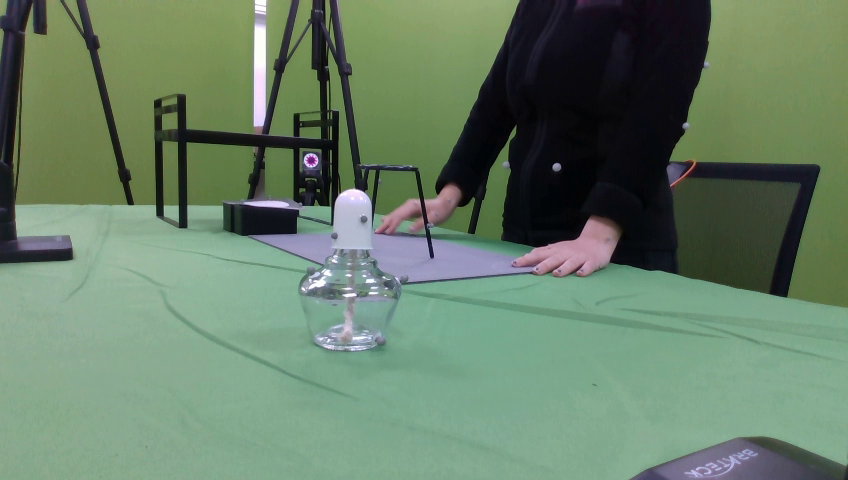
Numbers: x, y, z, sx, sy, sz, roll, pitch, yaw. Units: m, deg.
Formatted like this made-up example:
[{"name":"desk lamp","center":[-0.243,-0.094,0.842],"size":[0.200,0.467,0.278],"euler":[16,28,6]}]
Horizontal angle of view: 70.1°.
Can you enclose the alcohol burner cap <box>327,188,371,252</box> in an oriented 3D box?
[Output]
[{"name":"alcohol burner cap","center":[-0.055,-0.015,0.448],"size":[0.034,0.048,0.034],"euler":[0,1,0]}]

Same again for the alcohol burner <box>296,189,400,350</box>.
[{"name":"alcohol burner","center":[-0.056,0.021,0.453],"size":[0.078,0.119,0.078],"euler":[3,6,0]}]

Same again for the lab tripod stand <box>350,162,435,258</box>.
[{"name":"lab tripod stand","center":[-0.055,-0.044,0.863],"size":[0.148,0.131,0.148],"euler":[3,9,0]}]

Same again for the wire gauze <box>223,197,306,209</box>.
[{"name":"wire gauze","center":[-0.291,-0.068,1.098],"size":[0.126,0.011,0.121],"euler":[-2,10,-28]}]
